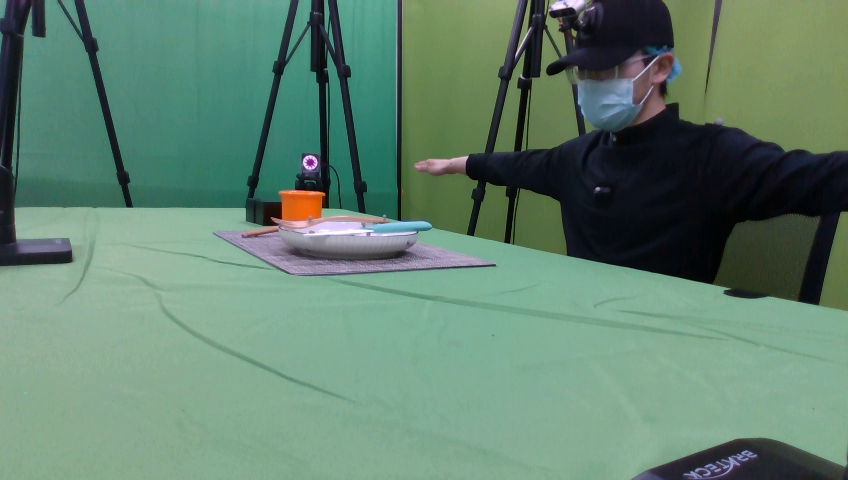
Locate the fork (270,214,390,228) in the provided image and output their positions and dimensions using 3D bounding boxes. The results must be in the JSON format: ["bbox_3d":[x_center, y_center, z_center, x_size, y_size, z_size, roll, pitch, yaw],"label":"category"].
[{"bbox_3d":[-0.143,-0.031,0.963,0.208,0.018,0.028,-4,19,-35],"label":"fork"}]

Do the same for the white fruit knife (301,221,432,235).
[{"bbox_3d":[-0.079,-0.016,0.858,0.208,0.016,0.027,-4,13,-37],"label":"white fruit knife"}]

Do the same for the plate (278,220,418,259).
[{"bbox_3d":[-0.114,-0.002,0.914,0.209,0.038,0.209,2,8,0],"label":"plate"}]

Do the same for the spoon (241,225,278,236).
[{"bbox_3d":[-0.232,-0.021,1.082,0.195,0.021,0.041,-3,27,-37],"label":"spoon"}]
